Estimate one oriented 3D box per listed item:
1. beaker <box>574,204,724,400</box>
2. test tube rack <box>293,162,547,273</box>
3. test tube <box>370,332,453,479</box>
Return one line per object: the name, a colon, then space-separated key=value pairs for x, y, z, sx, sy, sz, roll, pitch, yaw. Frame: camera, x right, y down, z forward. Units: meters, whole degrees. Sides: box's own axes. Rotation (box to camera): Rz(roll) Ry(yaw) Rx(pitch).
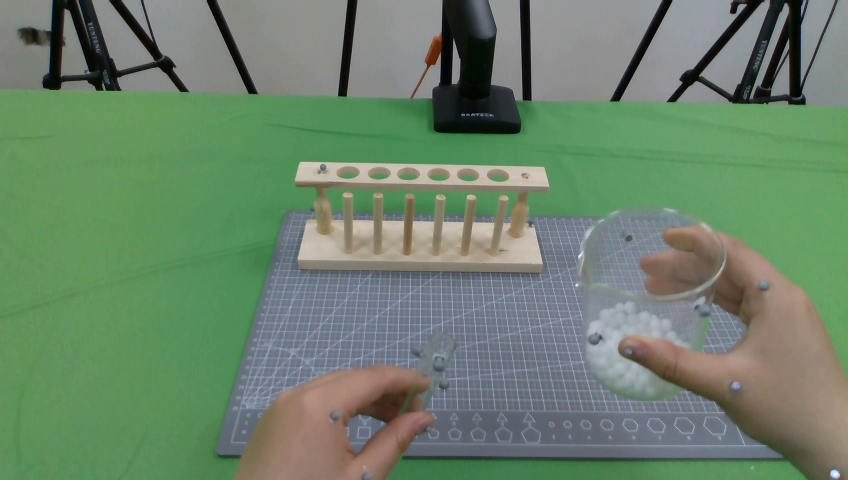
beaker: x=0.127 y=0.042 z=0.360 sx=0.084 sy=0.101 sz=0.073 roll=-21 pitch=41 yaw=-10
test tube rack: x=-0.004 y=-0.022 z=0.601 sx=0.242 sy=0.086 sz=0.066 roll=1 pitch=40 yaw=-2
test tube: x=-0.011 y=0.107 z=0.369 sx=0.017 sy=0.151 sz=0.017 roll=12 pitch=41 yaw=-10
